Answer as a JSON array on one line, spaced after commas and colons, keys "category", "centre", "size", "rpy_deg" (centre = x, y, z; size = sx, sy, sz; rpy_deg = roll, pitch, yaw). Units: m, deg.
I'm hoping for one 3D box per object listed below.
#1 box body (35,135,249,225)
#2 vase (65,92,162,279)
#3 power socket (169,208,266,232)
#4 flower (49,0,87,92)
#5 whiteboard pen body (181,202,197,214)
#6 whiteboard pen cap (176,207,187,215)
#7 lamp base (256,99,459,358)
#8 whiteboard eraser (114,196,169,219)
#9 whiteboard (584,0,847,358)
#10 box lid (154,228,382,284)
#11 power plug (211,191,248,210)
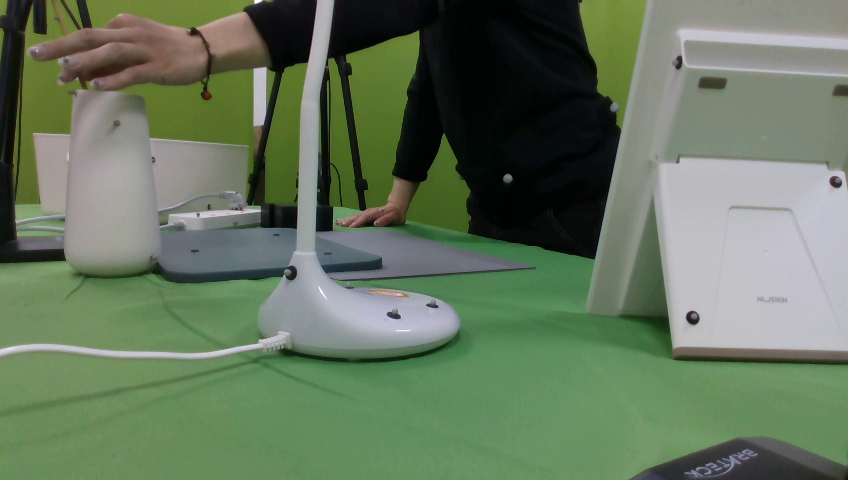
[{"category": "box body", "centre": [-0.561, -0.127, 1.258], "size": [0.254, 0.160, 0.365], "rpy_deg": [4, 8, 13]}, {"category": "vase", "centre": [-0.347, -0.060, 0.673], "size": [0.098, 0.200, 0.098], "rpy_deg": [0, 7, 0]}, {"category": "power socket", "centre": [-0.379, -0.038, 1.129], "size": [0.072, 0.032, 0.227], "rpy_deg": [4, 8, 18]}, {"category": "flower", "centre": [-0.361, -0.141, 0.658], "size": [0.038, 0.361, 0.044], "rpy_deg": [-13, 10, 10]}, {"category": "whiteboard pen body", "centre": [-0.519, -0.070, 1.331], "size": [0.017, 0.017, 0.140], "rpy_deg": [1, 10, -11]}, {"category": "whiteboard pen cap", "centre": [-0.511, -0.062, 1.274], "size": [0.018, 0.018, 0.033], "rpy_deg": [1, 9, -10]}, {"category": "lamp base", "centre": [-0.055, -0.013, 0.463], "size": [0.160, 0.180, 0.180], "rpy_deg": [6, 11, 27]}, {"category": "whiteboard eraser", "centre": [-0.546, -0.063, 1.174], "size": [0.055, 0.042, 0.112], "rpy_deg": [5, 5, 3]}, {"category": "whiteboard", "centre": [0.269, -0.034, 0.466], "size": [0.217, 0.305, 0.143], "rpy_deg": [2, 27, -1]}, {"category": "box lid", "centre": [-0.250, 0.014, 0.853], "size": [0.265, 0.015, 0.369], "rpy_deg": [-3, 9, -32]}, {"category": "power plug", "centre": [-0.384, -0.071, 1.206], "size": [0.072, 0.052, 0.035], "rpy_deg": [1, 7, 27]}]
